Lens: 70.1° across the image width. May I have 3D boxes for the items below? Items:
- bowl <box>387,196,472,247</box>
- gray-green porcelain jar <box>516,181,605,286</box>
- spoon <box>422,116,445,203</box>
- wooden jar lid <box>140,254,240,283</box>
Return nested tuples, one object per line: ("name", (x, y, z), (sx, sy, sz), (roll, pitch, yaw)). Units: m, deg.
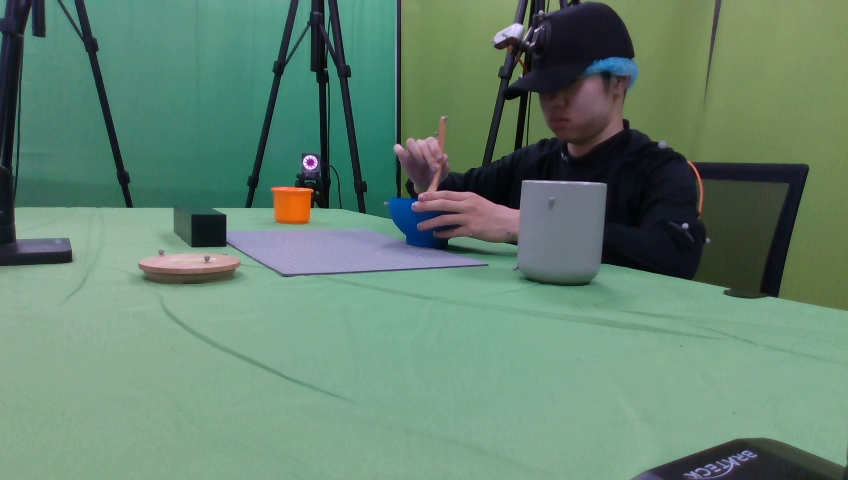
("bowl", (0.006, -0.030, 1.050), (0.151, 0.077, 0.151), (5, 6, 0))
("gray-green porcelain jar", (0.172, -0.010, 0.768), (0.106, 0.126, 0.106), (2, 7, 0))
("spoon", (0.019, -0.118, 1.036), (0.022, 0.193, 0.041), (15, -9, -26))
("wooden jar lid", (-0.269, 0.032, 0.698), (0.108, 0.020, 0.108), (2, 5, 0))
